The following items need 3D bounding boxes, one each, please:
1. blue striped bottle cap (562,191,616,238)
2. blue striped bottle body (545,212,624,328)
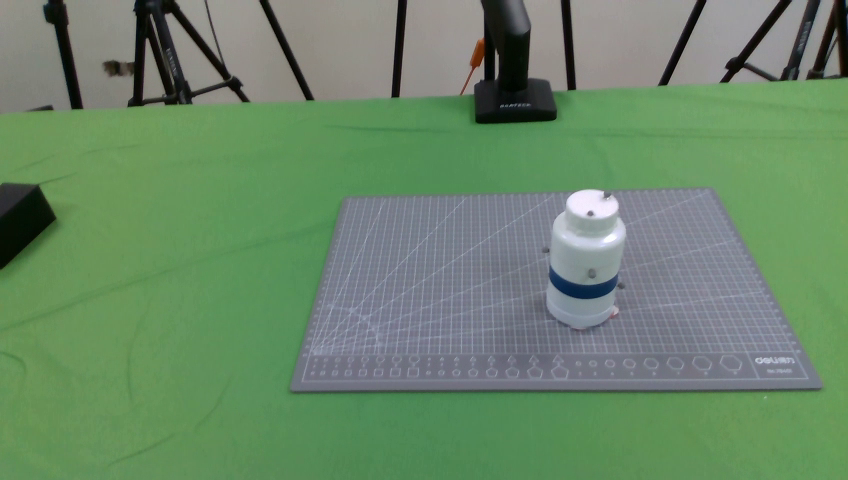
[{"bbox_3d":[0.141,-0.023,0.518,0.044,0.021,0.044,-2,39,2],"label":"blue striped bottle cap"},{"bbox_3d":[0.145,0.017,0.550,0.063,0.122,0.062,-3,39,2],"label":"blue striped bottle body"}]
